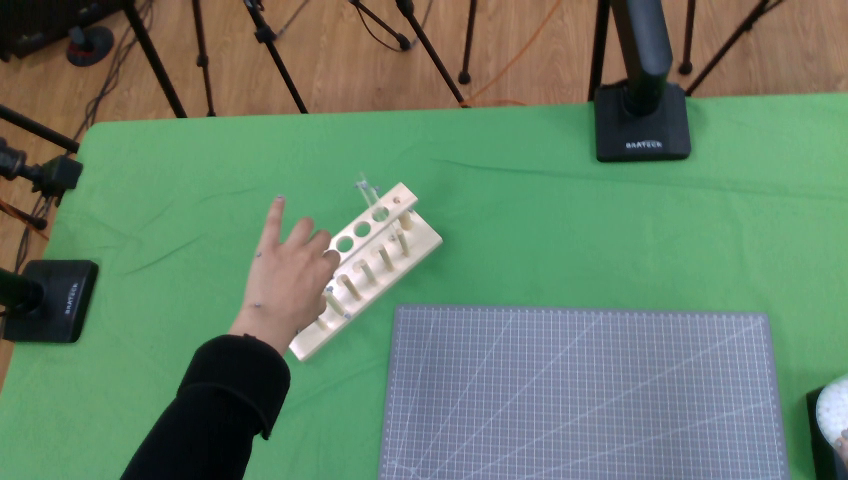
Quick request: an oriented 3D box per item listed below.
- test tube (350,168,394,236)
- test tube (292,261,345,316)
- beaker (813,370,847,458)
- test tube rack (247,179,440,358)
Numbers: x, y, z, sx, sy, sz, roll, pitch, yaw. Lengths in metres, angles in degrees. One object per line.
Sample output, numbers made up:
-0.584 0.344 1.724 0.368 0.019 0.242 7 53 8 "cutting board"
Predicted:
-0.061 -0.043 0.745 0.017 0.151 0.017 -5 64 11 "test tube"
-0.123 0.060 0.718 0.017 0.152 0.017 -5 64 10 "test tube"
0.331 0.121 0.432 0.084 0.101 0.073 -15 64 4 "beaker"
-0.096 0.038 0.772 0.242 0.086 0.066 -41 67 -8 "test tube rack"
